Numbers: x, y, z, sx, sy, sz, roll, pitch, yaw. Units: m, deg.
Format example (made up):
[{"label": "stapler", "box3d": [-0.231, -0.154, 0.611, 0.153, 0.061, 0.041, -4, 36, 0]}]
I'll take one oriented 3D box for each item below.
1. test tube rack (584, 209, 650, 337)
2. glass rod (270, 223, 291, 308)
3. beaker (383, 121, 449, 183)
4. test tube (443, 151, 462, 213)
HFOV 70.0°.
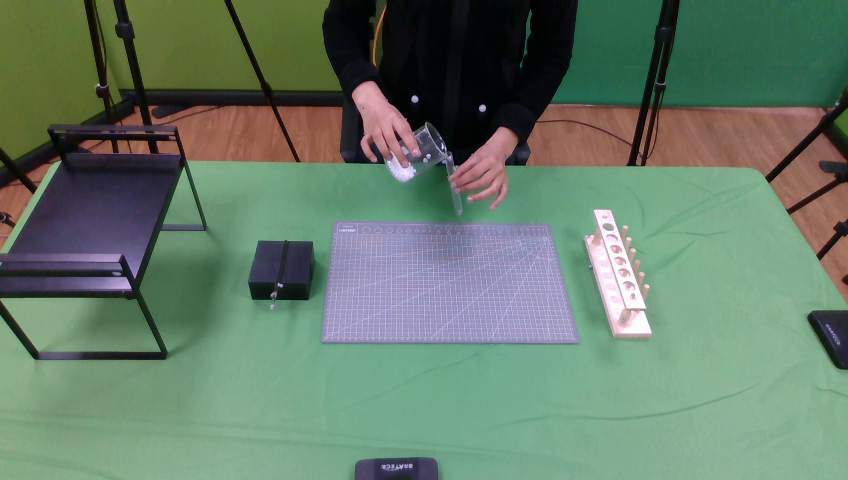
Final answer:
[{"label": "test tube rack", "box3d": [0.365, 0.056, 1.129, 0.067, 0.085, 0.240, 1, 46, -4]}, {"label": "glass rod", "box3d": [-0.255, 0.041, 1.081, 0.008, 0.008, 0.198, 2, 46, -2]}, {"label": "beaker", "box3d": [-0.016, -0.154, 1.086, 0.100, 0.084, 0.073, -30, 52, 19]}, {"label": "test tube", "box3d": [0.056, -0.108, 1.156, 0.017, 0.151, 0.017, -7, 46, 8]}]
